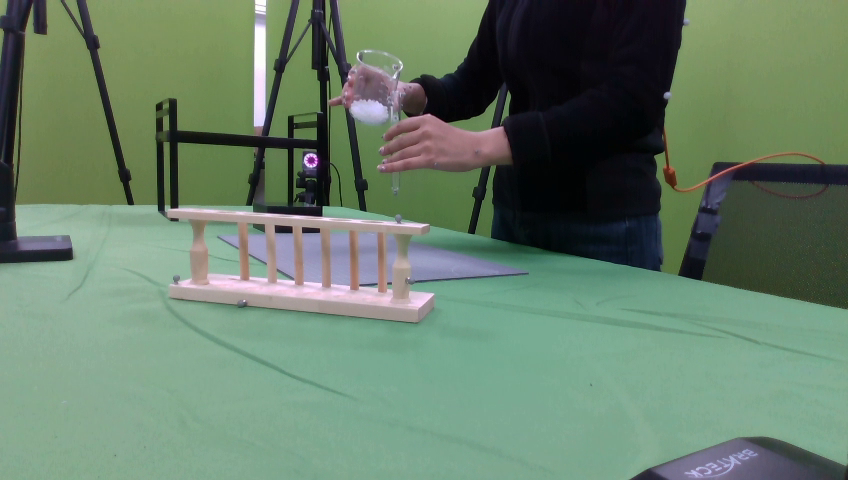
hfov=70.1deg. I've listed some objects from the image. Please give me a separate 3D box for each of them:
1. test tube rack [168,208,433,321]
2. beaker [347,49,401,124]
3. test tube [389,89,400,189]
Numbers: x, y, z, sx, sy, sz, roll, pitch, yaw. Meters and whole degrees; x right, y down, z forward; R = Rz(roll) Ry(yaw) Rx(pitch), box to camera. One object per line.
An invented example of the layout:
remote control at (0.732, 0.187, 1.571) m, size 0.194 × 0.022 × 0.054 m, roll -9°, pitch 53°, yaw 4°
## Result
test tube rack at (-0.116, 0.017, 0.574) m, size 0.242 × 0.085 × 0.067 m, roll 4°, pitch 8°, yaw 13°
beaker at (-0.082, -0.244, 0.976) m, size 0.074 × 0.100 × 0.083 m, roll -14°, pitch 49°, yaw -33°
test tube at (-0.045, -0.152, 0.914) m, size 0.017 × 0.150 × 0.017 m, roll 0°, pitch 1°, yaw 0°
